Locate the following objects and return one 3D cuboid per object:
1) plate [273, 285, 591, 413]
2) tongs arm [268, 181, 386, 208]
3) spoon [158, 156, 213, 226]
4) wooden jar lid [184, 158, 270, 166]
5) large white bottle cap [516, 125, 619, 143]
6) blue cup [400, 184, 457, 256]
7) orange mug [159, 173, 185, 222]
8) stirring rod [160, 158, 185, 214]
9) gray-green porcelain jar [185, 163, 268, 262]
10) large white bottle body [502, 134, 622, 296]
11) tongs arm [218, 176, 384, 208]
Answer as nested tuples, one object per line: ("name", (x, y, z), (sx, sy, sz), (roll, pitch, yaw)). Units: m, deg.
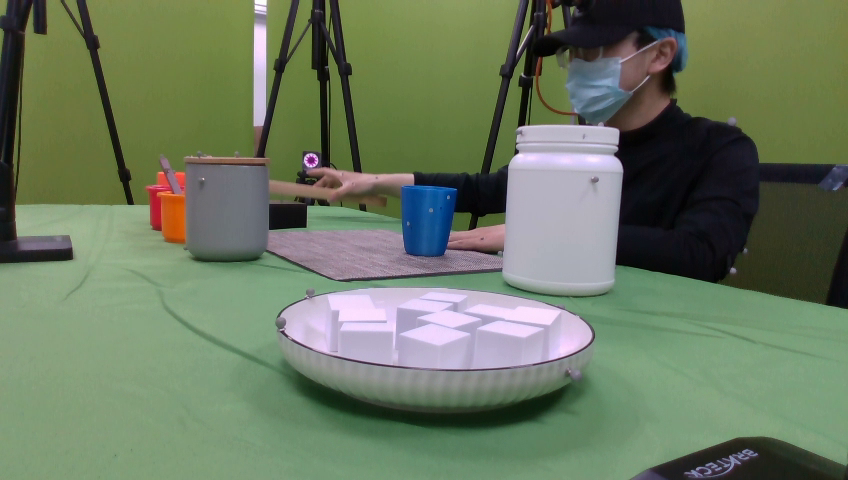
("plate", (0.005, 0.069, 0.407), (0.208, 0.039, 0.207), (2, 7, 0))
("tongs arm", (-0.254, -0.106, 1.376), (0.387, 0.026, 0.050), (6, 2, -31))
("spoon", (-0.434, -0.094, 1.121), (0.041, 0.022, 0.193), (5, 51, 13))
("wooden jar lid", (-0.260, -0.099, 0.801), (0.108, 0.020, 0.108), (0, 9, 0))
("large white bottle cap", (0.164, -0.120, 0.695), (0.115, 0.018, 0.115), (2, 8, 0))
("blue cup", (0.003, -0.029, 0.901), (0.093, 0.100, 0.092), (4, 8, 0))
("orange mug", (-0.477, -0.089, 1.241), (0.127, 0.101, 0.083), (-7, 12, -33))
("stirring rod", (-0.390, -0.070, 0.972), (0.014, 0.006, 0.175), (-3, 51, -48))
("gray-green porcelain jar", (-0.263, -0.038, 0.808), (0.106, 0.126, 0.106), (3, 8, 0))
("large white bottle body", (0.161, -0.037, 0.706), (0.131, 0.184, 0.130), (2, 7, 0))
("tongs arm", (-0.287, -0.115, 1.444), (0.389, 0.027, 0.028), (7, -2, -19))
